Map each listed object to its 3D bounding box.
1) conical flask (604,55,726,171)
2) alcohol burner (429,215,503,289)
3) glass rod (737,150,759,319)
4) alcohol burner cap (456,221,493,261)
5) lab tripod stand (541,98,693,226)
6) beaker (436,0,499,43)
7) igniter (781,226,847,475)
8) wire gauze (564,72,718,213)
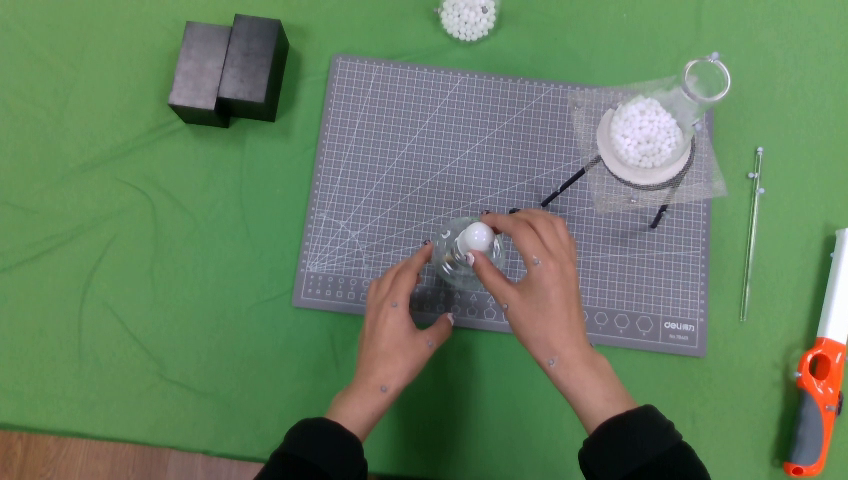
[{"bbox_3d":[0.203,-0.108,0.504,0.075,0.122,0.075,0,80,-1],"label":"conical flask"},{"bbox_3d":[0.044,0.009,0.613,0.078,0.119,0.077,1,79,-2],"label":"alcohol burner"},{"bbox_3d":[0.365,-0.009,0.683,0.008,0.008,0.199,12,78,1],"label":"glass rod"},{"bbox_3d":[0.048,-0.001,0.555,0.034,0.048,0.033,1,77,-6],"label":"alcohol burner cap"},{"bbox_3d":[0.201,-0.075,0.625,0.148,0.132,0.148,0,80,-1],"label":"lab tripod stand"},{"bbox_3d":[0.052,-0.278,0.682,0.084,0.100,0.073,-33,81,-8],"label":"beaker"},{"bbox_3d":[0.430,0.117,0.650,0.057,0.025,0.275,21,79,-8],"label":"igniter"},{"bbox_3d":[0.202,-0.090,0.561,0.125,0.011,0.121,-9,82,-5],"label":"wire gauze"}]
